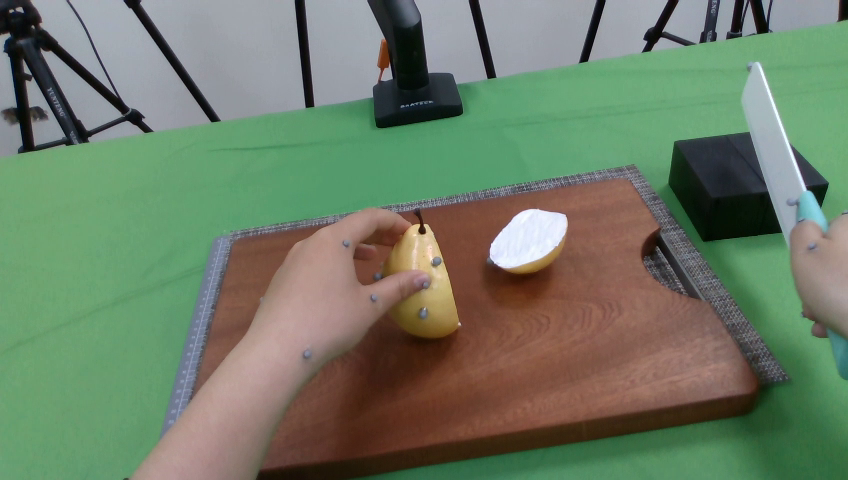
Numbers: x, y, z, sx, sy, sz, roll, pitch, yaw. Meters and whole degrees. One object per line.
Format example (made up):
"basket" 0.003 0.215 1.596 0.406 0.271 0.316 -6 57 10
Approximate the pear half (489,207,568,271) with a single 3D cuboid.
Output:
"pear half" 0.092 0.003 0.518 0.070 0.031 0.087 -15 23 17

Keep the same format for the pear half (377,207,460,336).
"pear half" -0.009 0.023 0.453 0.056 0.111 0.075 -18 36 -9

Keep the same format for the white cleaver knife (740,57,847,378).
"white cleaver knife" 0.284 -0.030 0.465 0.021 0.066 0.284 -5 55 16
